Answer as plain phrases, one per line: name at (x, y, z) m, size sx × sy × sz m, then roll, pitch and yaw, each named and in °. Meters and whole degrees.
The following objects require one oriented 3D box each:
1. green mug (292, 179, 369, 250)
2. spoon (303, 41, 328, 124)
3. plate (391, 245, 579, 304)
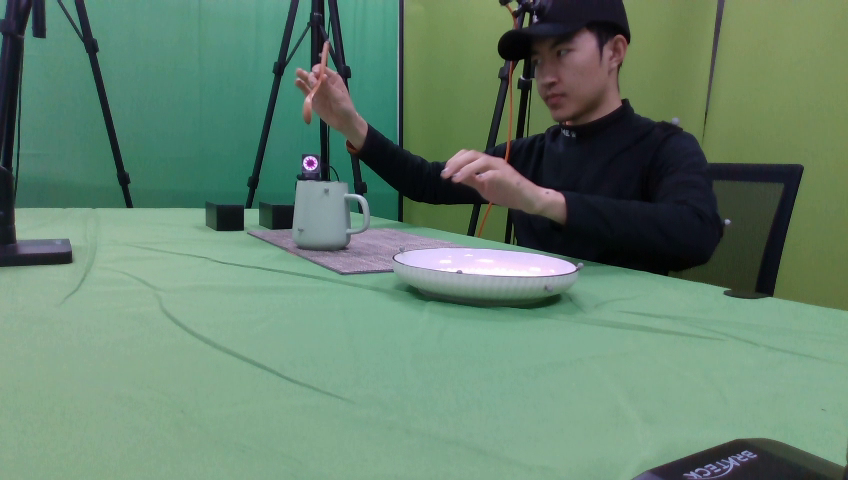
green mug at (-0.144, -0.040, 0.944) m, size 0.125 × 0.105 × 0.093 m, roll 4°, pitch 7°, yaw 16°
spoon at (-0.205, -0.305, 1.158) m, size 0.022 × 0.193 × 0.041 m, roll 19°, pitch -28°, yaw -16°
plate at (0.066, 0.038, 0.683) m, size 0.209 × 0.038 × 0.209 m, roll 2°, pitch 7°, yaw 0°
